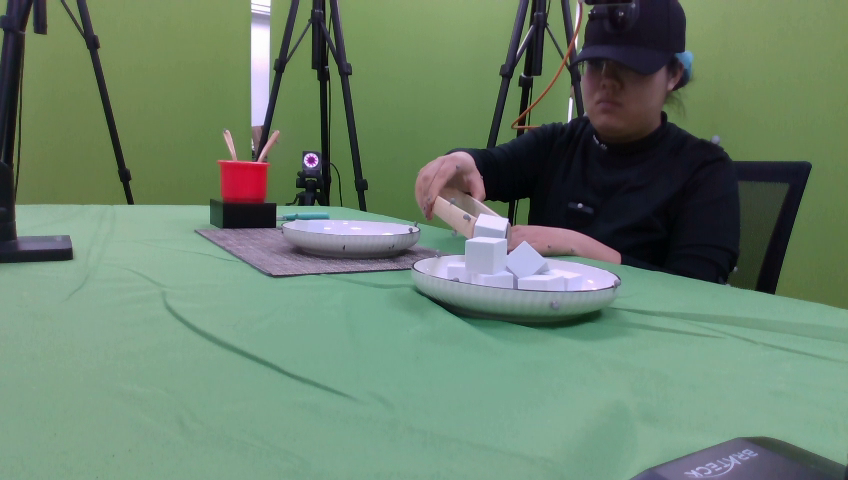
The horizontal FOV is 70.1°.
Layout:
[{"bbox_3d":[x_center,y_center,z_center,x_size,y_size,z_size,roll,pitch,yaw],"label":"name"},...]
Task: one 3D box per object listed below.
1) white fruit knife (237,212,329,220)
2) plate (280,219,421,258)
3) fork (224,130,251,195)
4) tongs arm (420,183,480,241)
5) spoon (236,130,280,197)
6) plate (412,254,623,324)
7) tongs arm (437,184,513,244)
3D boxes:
[{"bbox_3d":[-0.304,-0.050,1.328,0.208,0.016,0.027,-3,-19,-30],"label":"white fruit knife"},{"bbox_3d":[-0.108,-0.002,0.902,0.208,0.039,0.207,3,7,0],"label":"plate"},{"bbox_3d":[-0.372,-0.155,1.193,0.028,0.018,0.206,-17,54,-13],"label":"fork"},{"bbox_3d":[0.037,-0.045,0.810,0.051,0.026,0.383,3,10,-12],"label":"tongs arm"},{"bbox_3d":[-0.321,-0.154,1.192,0.041,0.193,0.022,0,-37,19],"label":"spoon"},{"bbox_3d":[0.090,0.047,0.609,0.209,0.038,0.209,2,7,0],"label":"plate"},{"bbox_3d":[0.061,-0.043,0.814,0.028,0.028,0.386,1,11,-8],"label":"tongs arm"}]
